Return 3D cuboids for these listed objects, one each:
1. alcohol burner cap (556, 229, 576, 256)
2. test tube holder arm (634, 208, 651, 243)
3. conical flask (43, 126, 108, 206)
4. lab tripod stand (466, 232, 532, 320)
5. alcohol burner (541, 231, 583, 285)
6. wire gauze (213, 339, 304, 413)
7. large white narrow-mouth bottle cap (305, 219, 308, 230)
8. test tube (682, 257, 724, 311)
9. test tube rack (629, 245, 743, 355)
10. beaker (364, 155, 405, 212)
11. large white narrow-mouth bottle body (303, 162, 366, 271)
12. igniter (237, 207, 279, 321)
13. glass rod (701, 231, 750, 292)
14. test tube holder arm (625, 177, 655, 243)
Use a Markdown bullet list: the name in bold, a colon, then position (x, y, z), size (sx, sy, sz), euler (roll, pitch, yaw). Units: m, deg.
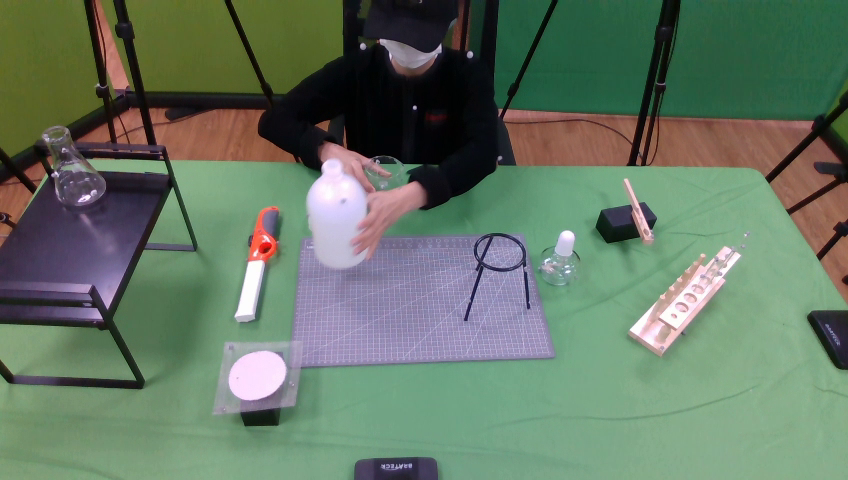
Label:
- **alcohol burner cap**: position (0.260, 0.002, 1.098), size (0.034, 0.048, 0.033), euler (3, 40, -2)
- **test tube holder arm**: position (0.428, -0.030, 1.189), size (0.010, 0.015, 0.087), euler (1, 47, -2)
- **conical flask**: position (-0.555, -0.119, 0.953), size (0.075, 0.122, 0.075), euler (2, 46, -2)
- **lab tripod stand**: position (0.125, 0.059, 1.065), size (0.148, 0.132, 0.147), euler (1, 45, 0)
- **alcohol burner**: position (0.258, 0.028, 1.123), size (0.078, 0.120, 0.077), euler (1, 47, -1)
- **wire gauze**: position (-0.250, 0.203, 0.924), size (0.121, 0.011, 0.124), euler (-1, 46, -3)
- **large white narrow-mouth bottle cap**: position (-0.219, -0.033, 1.214), size (0.038, 0.024, 0.037), euler (2, 46, -2)
- **test tube**: position (0.475, 0.080, 1.037), size (0.017, 0.151, 0.017), euler (2, 51, -2)
- **test tube rack**: position (0.474, 0.095, 1.091), size (0.242, 0.085, 0.066), euler (-34, 56, -31)
- **beaker**: position (-0.080, -0.114, 1.247), size (0.084, 0.101, 0.073), euler (-10, 48, -14)
- **large white narrow-mouth bottle body**: position (-0.152, -0.045, 1.022), size (0.102, 0.195, 0.101), euler (0, 43, 0)
- **igniter**: position (-0.309, 0.035, 1.136), size (0.057, 0.025, 0.274), euler (-7, 46, 5)
- **glass rod**: position (0.519, 0.045, 1.050), size (0.008, 0.201, 0.008), euler (0, 55, 0)
- **test tube holder arm**: position (0.433, -0.063, 1.220), size (0.013, 0.015, 0.177), euler (1, 47, -3)
